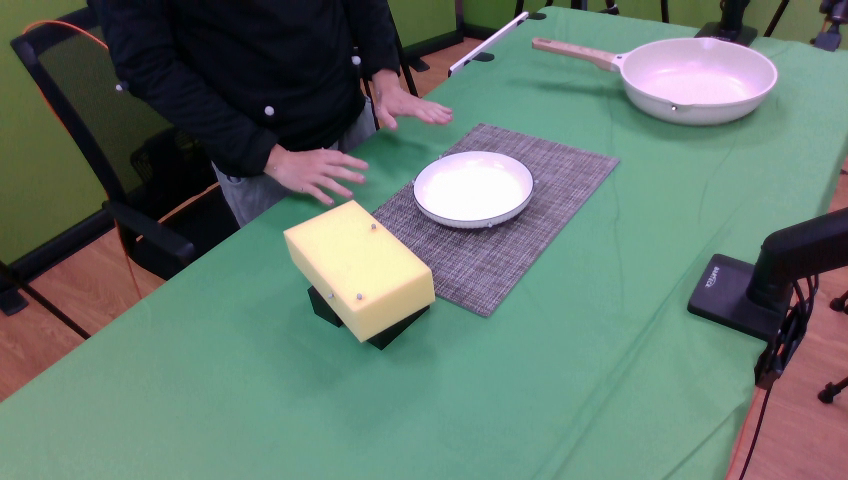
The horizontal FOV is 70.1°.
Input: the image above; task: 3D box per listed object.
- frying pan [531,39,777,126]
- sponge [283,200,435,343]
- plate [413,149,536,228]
[{"bbox_3d":[0.452,-0.354,1.254,0.485,0.103,0.307,22,47,19],"label":"frying pan"},{"bbox_3d":[-0.093,0.036,0.835,0.119,0.061,0.205,-29,45,-23],"label":"sponge"},{"bbox_3d":[0.086,-0.085,1.038,0.207,0.039,0.206,-4,40,4],"label":"plate"}]
